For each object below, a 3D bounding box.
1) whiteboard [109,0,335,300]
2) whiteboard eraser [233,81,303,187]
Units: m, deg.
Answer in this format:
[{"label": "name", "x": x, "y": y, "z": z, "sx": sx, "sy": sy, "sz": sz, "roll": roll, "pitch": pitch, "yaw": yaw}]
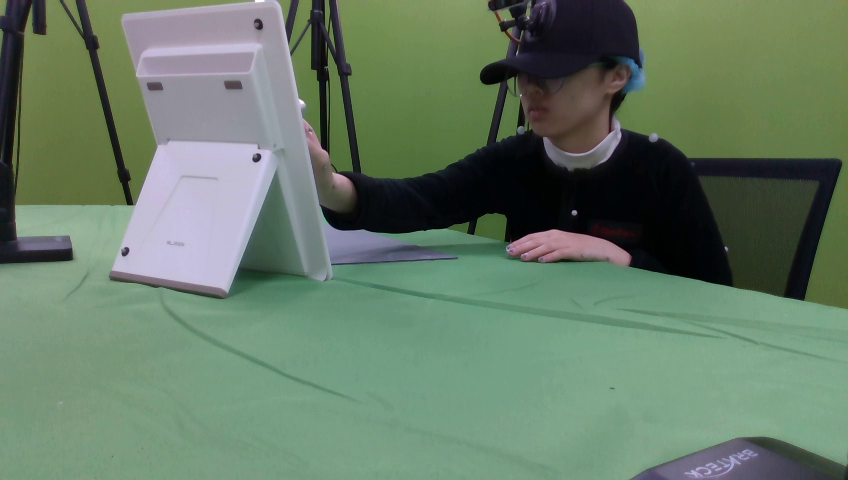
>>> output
[{"label": "whiteboard", "x": -0.247, "y": -0.072, "z": 0.624, "sx": 0.216, "sy": 0.305, "sz": 0.144, "roll": 6, "pitch": 28, "yaw": 26}, {"label": "whiteboard eraser", "x": -0.177, "y": -0.116, "z": 0.673, "sx": 0.055, "sy": 0.112, "sz": 0.042, "roll": 31, "pitch": 36, "yaw": 4}]
